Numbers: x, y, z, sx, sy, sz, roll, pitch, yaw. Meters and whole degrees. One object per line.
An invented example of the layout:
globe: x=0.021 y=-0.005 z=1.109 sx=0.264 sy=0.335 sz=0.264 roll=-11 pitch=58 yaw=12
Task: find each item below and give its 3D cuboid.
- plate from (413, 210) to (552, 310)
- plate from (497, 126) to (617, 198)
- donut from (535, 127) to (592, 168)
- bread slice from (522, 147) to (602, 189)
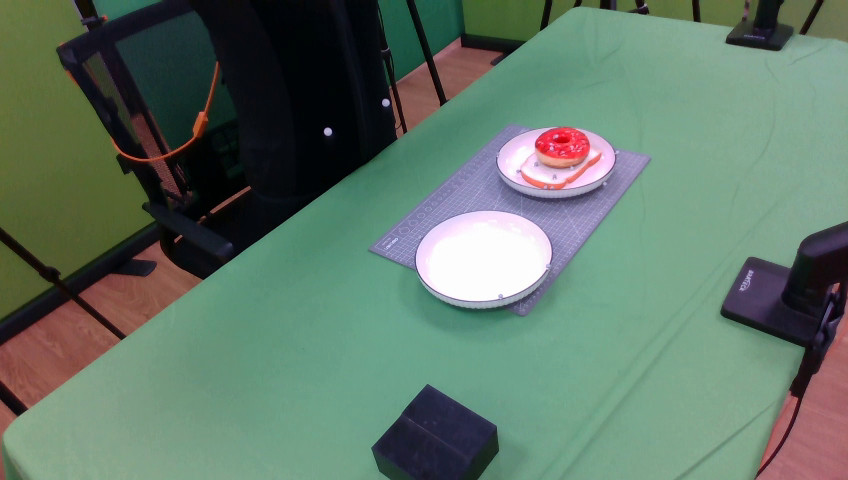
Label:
plate: x=0.088 y=0.033 z=0.914 sx=0.207 sy=0.039 sz=0.206 roll=-5 pitch=40 yaw=5
plate: x=0.236 y=-0.136 z=1.085 sx=0.209 sy=0.038 sz=0.208 roll=-5 pitch=40 yaw=5
donut: x=0.248 y=-0.165 z=1.073 sx=0.099 sy=0.048 sz=0.098 roll=-5 pitch=39 yaw=5
bread slice: x=0.242 y=-0.137 z=1.085 sx=0.106 sy=0.018 sz=0.134 roll=23 pitch=51 yaw=34
